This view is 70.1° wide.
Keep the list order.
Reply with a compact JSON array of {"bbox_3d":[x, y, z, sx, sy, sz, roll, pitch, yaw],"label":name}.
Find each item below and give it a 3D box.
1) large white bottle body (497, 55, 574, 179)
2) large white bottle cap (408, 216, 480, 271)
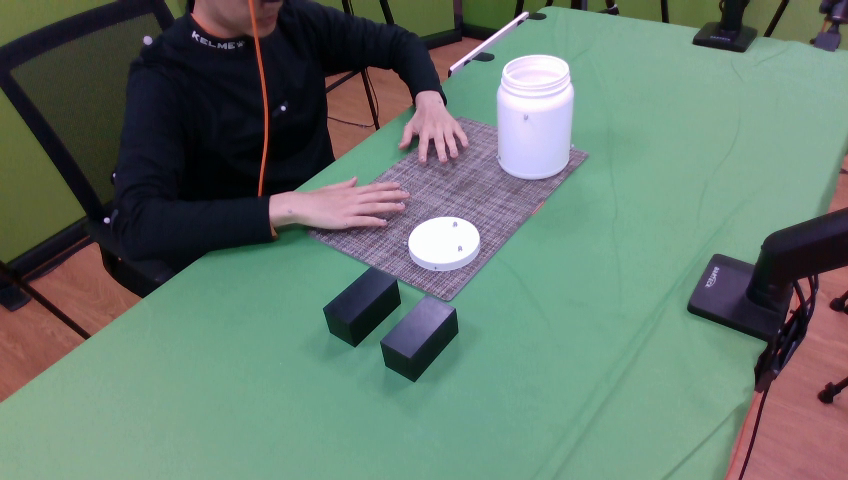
[{"bbox_3d":[0.194,-0.216,1.060,0.130,0.185,0.130,-4,41,4],"label":"large white bottle body"},{"bbox_3d":[0.032,0.004,0.957,0.115,0.018,0.114,-4,41,4],"label":"large white bottle cap"}]
